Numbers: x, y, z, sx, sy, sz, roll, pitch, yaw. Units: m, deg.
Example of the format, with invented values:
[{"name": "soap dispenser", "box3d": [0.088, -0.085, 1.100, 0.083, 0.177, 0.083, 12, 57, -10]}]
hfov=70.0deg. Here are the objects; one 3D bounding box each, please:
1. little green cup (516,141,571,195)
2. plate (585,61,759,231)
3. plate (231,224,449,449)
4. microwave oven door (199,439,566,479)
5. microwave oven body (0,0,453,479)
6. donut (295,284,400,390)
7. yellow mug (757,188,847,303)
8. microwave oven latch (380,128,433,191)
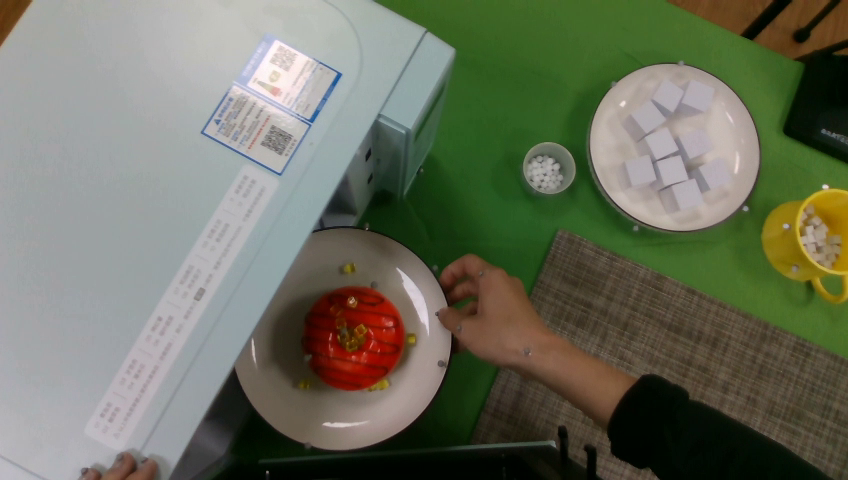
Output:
[{"name": "little green cup", "box3d": [0.137, -0.081, 0.708, 0.061, 0.038, 0.061, 1, 83, -5]}, {"name": "plate", "box3d": [0.291, -0.110, 0.725, 0.208, 0.039, 0.207, 1, 82, -4]}, {"name": "plate", "box3d": [-0.080, 0.090, 0.577, 0.209, 0.038, 0.208, 0, 84, -1]}, {"name": "microwave oven door", "box3d": [-0.026, 0.223, 0.532, 0.356, 0.244, 0.039, -2, 81, -5]}, {"name": "microwave oven body", "box3d": [-0.226, -0.024, 0.557, 0.326, 0.260, 0.440, 28, 81, 0]}, {"name": "donut", "box3d": [-0.070, 0.090, 0.565, 0.099, 0.048, 0.099, 0, 87, -4]}, {"name": "yellow mug", "box3d": [0.460, 0.009, 0.707, 0.100, 0.064, 0.130, -12, 84, -6]}, {"name": "microwave oven latch", "box3d": [-0.020, -0.096, 0.680, 0.030, 0.029, 0.079, 32, 81, 0]}]
